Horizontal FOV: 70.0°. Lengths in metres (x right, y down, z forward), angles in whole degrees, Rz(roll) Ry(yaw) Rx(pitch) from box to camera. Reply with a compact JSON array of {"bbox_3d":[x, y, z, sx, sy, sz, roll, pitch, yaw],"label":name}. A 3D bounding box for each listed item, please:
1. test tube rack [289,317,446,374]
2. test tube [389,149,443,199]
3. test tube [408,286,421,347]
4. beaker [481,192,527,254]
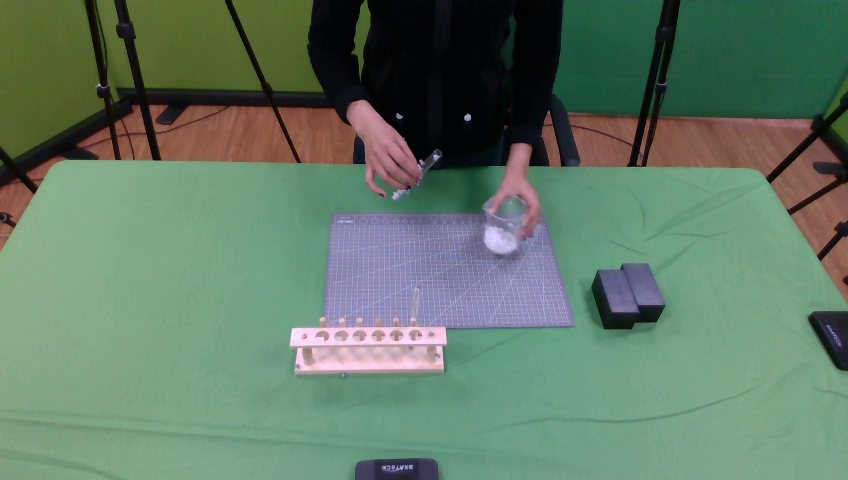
[{"bbox_3d":[-0.089,0.167,0.987,0.242,0.085,0.066,0,46,-4],"label":"test tube rack"},{"bbox_3d":[-0.017,-0.115,1.082,0.017,0.150,0.017,23,49,-29],"label":"test tube"},{"bbox_3d":[-0.016,0.124,0.973,0.017,0.151,0.017,3,46,-2],"label":"test tube"},{"bbox_3d":[0.144,-0.029,1.141,0.084,0.101,0.073,2,45,-1],"label":"beaker"}]
